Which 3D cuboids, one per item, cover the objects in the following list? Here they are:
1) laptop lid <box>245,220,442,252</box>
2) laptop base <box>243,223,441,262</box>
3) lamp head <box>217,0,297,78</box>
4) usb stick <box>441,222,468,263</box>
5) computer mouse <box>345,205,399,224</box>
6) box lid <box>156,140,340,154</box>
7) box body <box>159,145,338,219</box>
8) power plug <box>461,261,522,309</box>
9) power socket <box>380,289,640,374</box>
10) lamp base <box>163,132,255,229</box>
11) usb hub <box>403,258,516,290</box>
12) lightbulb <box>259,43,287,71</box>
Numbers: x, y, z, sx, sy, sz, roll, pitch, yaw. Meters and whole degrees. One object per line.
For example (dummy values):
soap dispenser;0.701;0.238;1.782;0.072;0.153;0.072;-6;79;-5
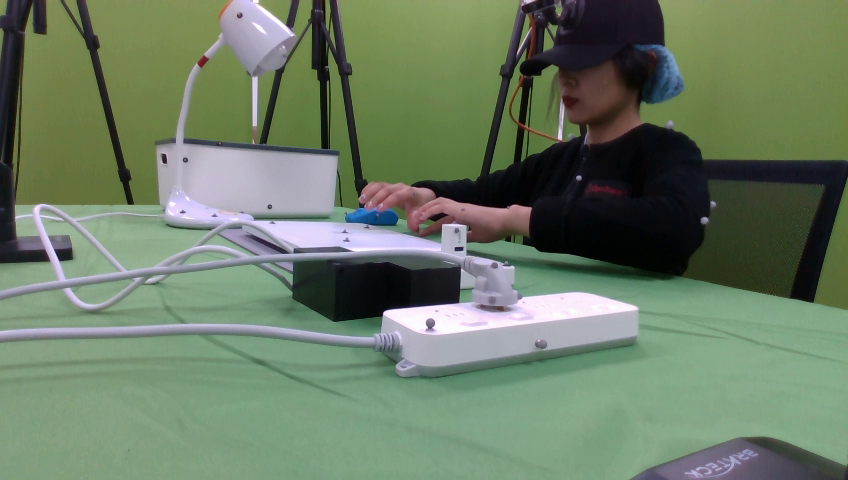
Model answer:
laptop lid;-0.124;-0.009;0.945;0.243;0.013;0.355;1;7;-29
laptop base;-0.126;0.003;0.945;0.237;0.023;0.352;2;6;-31
lamp head;-0.315;-0.372;1.102;0.123;0.112;0.112;41;3;-9
usb stick;0.034;0.009;0.685;0.021;0.059;0.027;-3;10;-31
computer mouse;-0.114;-0.055;1.337;0.117;0.041;0.062;-4;11;-19
box lid;-0.409;-0.213;1.404;0.373;0.015;0.262;-2;8;-32
box body;-0.410;-0.139;1.414;0.366;0.160;0.253;-3;8;-33
power plug;0.043;0.043;0.444;0.035;0.052;0.073;-5;8;44
power socket;0.072;0.064;0.461;0.228;0.032;0.072;-3;7;-30
lamp base;-0.419;-0.116;1.156;0.179;0.180;0.160;0;7;0
usb hub;0.042;0.038;0.690;0.126;0.025;0.049;-2;9;-30
lightbulb;-0.295;-0.357;1.102;0.059;0.107;0.059;-38;1;1
